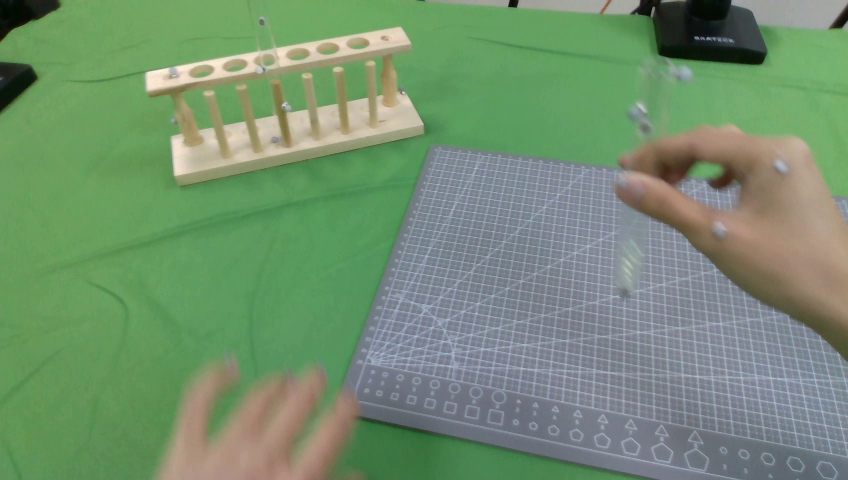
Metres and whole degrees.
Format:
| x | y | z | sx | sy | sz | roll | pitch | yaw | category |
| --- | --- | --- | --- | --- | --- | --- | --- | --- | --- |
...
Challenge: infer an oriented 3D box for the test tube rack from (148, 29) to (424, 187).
| x | y | z | sx | sy | sz | roll | pitch | yaw | category |
| --- | --- | --- | --- | --- | --- | --- | --- | --- | --- |
| -0.126 | -0.130 | 0.587 | 0.243 | 0.086 | 0.066 | -14 | 48 | -12 | test tube rack |

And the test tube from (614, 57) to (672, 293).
| x | y | z | sx | sy | sz | roll | pitch | yaw | category |
| --- | --- | --- | --- | --- | --- | --- | --- | --- | --- |
| 0.115 | -0.026 | 0.325 | 0.017 | 0.152 | 0.017 | -6 | 41 | 5 | test tube |

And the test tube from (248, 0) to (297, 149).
| x | y | z | sx | sy | sz | roll | pitch | yaw | category |
| --- | --- | --- | --- | --- | --- | --- | --- | --- | --- |
| -0.134 | -0.145 | 0.540 | 0.017 | 0.152 | 0.017 | -1 | 45 | 1 | test tube |
